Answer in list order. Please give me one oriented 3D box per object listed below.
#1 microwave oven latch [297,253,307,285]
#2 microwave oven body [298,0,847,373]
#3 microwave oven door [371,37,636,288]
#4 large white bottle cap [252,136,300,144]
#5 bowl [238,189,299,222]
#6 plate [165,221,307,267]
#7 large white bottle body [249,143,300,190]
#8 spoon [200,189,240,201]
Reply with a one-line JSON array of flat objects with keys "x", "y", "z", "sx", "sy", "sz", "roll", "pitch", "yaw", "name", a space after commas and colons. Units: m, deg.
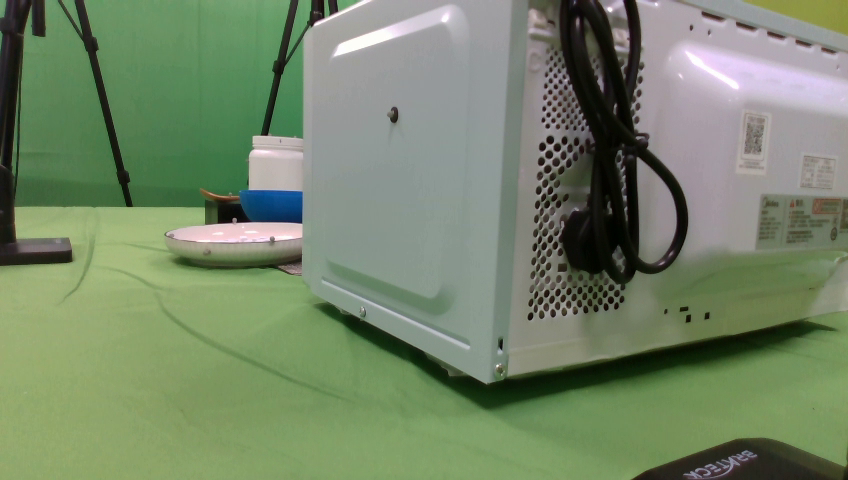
[{"x": -0.082, "y": 0.027, "z": 0.582, "sx": 0.079, "sy": 0.029, "sz": 0.030, "roll": -1, "pitch": 7, "yaw": -33, "name": "microwave oven latch"}, {"x": 0.151, "y": -0.055, "z": 0.543, "sx": 0.444, "sy": 0.260, "sz": 0.324, "roll": -1, "pitch": 7, "yaw": -33, "name": "microwave oven body"}, {"x": 0.109, "y": -0.080, "z": 0.686, "sx": 0.358, "sy": 0.243, "sz": 0.039, "roll": -2, "pitch": 9, "yaw": -33, "name": "microwave oven door"}, {"x": -0.336, "y": -0.228, "z": 1.391, "sx": 0.115, "sy": 0.018, "sz": 0.115, "roll": 2, "pitch": 7, "yaw": 0, "name": "large white bottle cap"}, {"x": -0.245, "y": -0.046, "z": 1.053, "sx": 0.151, "sy": 0.077, "sz": 0.151, "roll": 3, "pitch": 8, "yaw": 0, "name": "bowl"}, {"x": -0.241, "y": 0.004, "z": 0.829, "sx": 0.209, "sy": 0.038, "sz": 0.209, "roll": 0, "pitch": 9, "yaw": 0, "name": "plate"}, {"x": -0.339, "y": -0.144, "z": 1.401, "sx": 0.131, "sy": 0.184, "sz": 0.130, "roll": 2, "pitch": 7, "yaw": 0, "name": "large white bottle body"}, {"x": -0.339, "y": -0.080, "z": 1.190, "sx": 0.194, "sy": 0.021, "sz": 0.041, "roll": 5, "pitch": 1, "yaw": -19, "name": "spoon"}]
